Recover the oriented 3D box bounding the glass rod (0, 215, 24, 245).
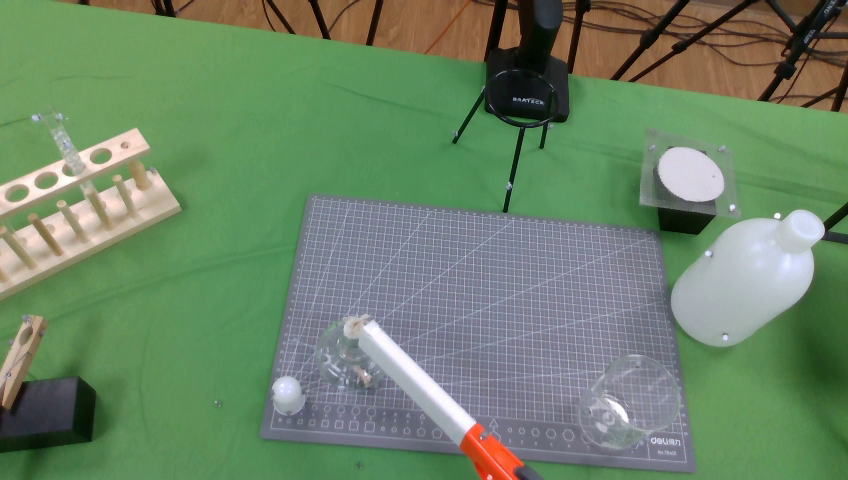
[{"bbox_3d":[-0.433,-0.057,0.593,0.008,0.201,0.008,5,50,-5],"label":"glass rod"}]

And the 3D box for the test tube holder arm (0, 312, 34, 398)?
[{"bbox_3d":[-0.385,0.147,0.541,0.013,0.015,0.177,8,59,-2],"label":"test tube holder arm"}]

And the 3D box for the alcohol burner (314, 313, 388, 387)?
[{"bbox_3d":[-0.070,0.102,0.602,0.078,0.120,0.077,4,59,-6],"label":"alcohol burner"}]

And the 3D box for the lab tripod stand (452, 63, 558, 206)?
[{"bbox_3d":[0.107,-0.137,0.754,0.148,0.132,0.147,4,61,-6],"label":"lab tripod stand"}]

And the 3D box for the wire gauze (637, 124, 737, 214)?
[{"bbox_3d":[0.333,-0.090,0.769,0.121,0.011,0.124,13,59,1],"label":"wire gauze"}]

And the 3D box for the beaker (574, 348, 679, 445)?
[{"bbox_3d":[0.195,0.161,0.608,0.084,0.101,0.073,3,59,-4],"label":"beaker"}]

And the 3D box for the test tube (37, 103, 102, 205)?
[{"bbox_3d":[-0.368,-0.084,0.635,0.017,0.151,0.017,4,57,-6],"label":"test tube"}]

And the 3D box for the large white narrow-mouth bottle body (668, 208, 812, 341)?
[{"bbox_3d":[0.347,0.030,0.650,0.102,0.196,0.101,3,59,-4],"label":"large white narrow-mouth bottle body"}]

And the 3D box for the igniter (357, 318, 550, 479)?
[{"bbox_3d":[0.043,0.164,0.495,0.274,0.057,0.025,40,50,21],"label":"igniter"}]

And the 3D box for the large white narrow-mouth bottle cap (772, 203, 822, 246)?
[{"bbox_3d":[0.354,-0.015,0.577,0.038,0.024,0.037,3,59,-4],"label":"large white narrow-mouth bottle cap"}]

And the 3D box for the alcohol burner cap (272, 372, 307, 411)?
[{"bbox_3d":[-0.137,0.150,0.608,0.034,0.048,0.033,2,61,-3],"label":"alcohol burner cap"}]

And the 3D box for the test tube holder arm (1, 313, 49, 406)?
[{"bbox_3d":[-0.374,0.110,0.564,0.010,0.015,0.087,9,58,-1],"label":"test tube holder arm"}]

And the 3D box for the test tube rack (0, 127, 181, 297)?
[{"bbox_3d":[-0.401,-0.025,0.655,0.242,0.086,0.066,-31,68,-22],"label":"test tube rack"}]
